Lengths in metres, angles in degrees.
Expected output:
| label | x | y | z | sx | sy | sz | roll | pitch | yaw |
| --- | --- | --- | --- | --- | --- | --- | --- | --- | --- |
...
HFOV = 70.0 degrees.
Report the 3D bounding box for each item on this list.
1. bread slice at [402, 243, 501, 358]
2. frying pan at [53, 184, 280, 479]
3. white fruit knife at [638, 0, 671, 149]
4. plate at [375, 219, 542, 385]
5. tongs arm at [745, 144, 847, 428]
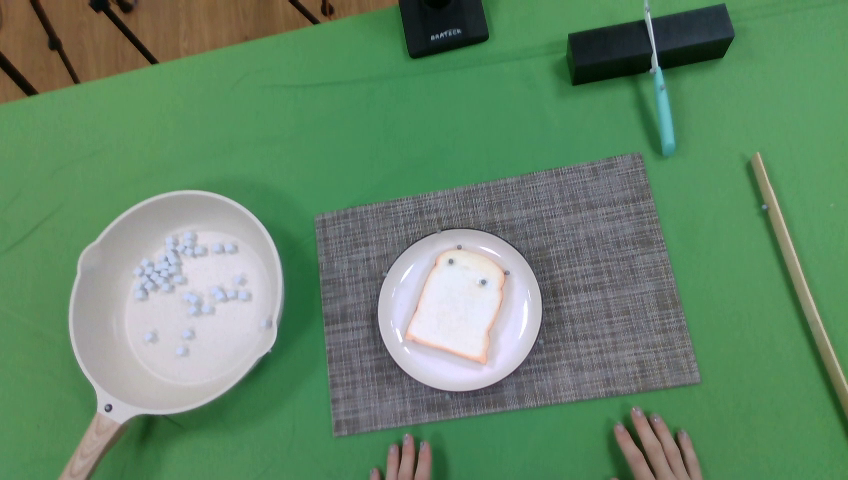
| label | x | y | z | sx | sy | sz | roll | pitch | yaw |
| --- | --- | --- | --- | --- | --- | --- | --- | --- | --- |
| bread slice | 0.039 | 0.071 | 0.765 | 0.106 | 0.018 | 0.134 | 13 | 79 | 11 |
| frying pan | -0.366 | 0.161 | 0.772 | 0.305 | 0.103 | 0.486 | 22 | 71 | 15 |
| white fruit knife | 0.295 | -0.222 | 0.783 | 0.016 | 0.027 | 0.207 | -9 | 88 | 7 |
| plate | 0.043 | 0.078 | 0.761 | 0.207 | 0.039 | 0.206 | -2 | 75 | 9 |
| tongs arm | 0.452 | 0.062 | 0.711 | 0.028 | 0.028 | 0.385 | -14 | 74 | 3 |
